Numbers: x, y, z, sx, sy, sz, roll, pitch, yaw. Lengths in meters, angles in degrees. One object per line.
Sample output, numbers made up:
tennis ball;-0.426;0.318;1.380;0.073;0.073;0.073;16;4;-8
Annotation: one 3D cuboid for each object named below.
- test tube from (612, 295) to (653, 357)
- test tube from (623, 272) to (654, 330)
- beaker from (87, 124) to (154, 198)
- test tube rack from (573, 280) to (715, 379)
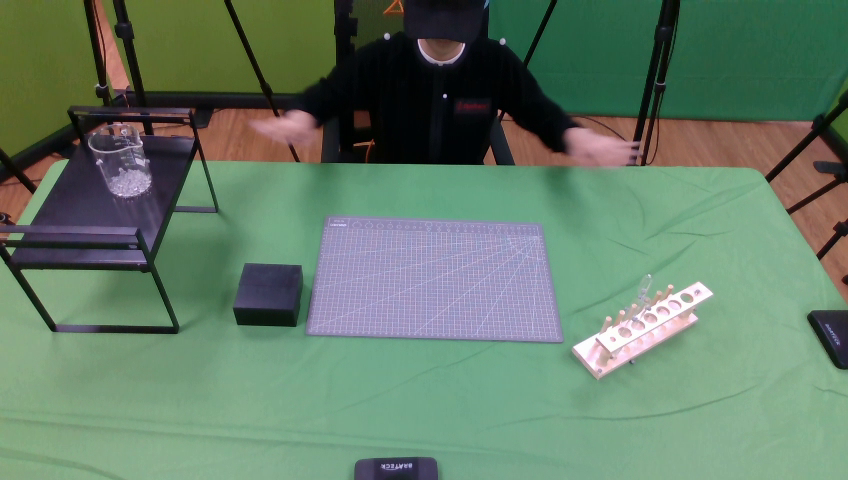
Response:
test tube;0.329;0.141;0.966;0.017;0.151;0.017;5;45;-5
test tube;0.356;0.104;1.010;0.017;0.151;0.017;1;46;-1
beaker;-0.482;-0.124;0.978;0.084;0.101;0.073;9;46;4
test tube rack;0.378;0.140;1.038;0.242;0.085;0.066;-22;51;-23
